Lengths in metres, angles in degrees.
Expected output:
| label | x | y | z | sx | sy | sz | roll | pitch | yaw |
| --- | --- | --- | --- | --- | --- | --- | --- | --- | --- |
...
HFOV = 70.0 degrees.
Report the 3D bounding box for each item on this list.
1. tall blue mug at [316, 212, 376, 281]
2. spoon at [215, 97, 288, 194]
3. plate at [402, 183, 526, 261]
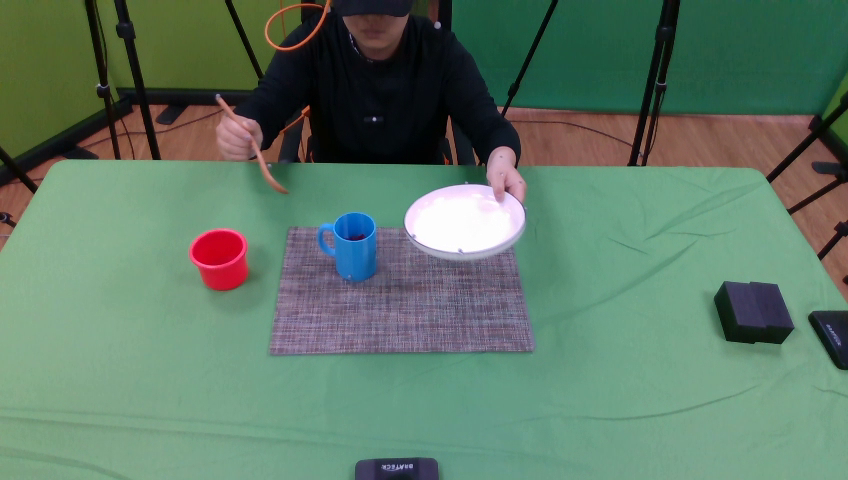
| label | x | y | z | sx | sy | sz | roll | pitch | yaw |
| --- | --- | --- | --- | --- | --- | --- | --- | --- | --- |
| tall blue mug | -0.142 | 0.014 | 1.108 | 0.107 | 0.108 | 0.077 | -5 | 48 | -8 |
| spoon | -0.285 | -0.156 | 1.003 | 0.021 | 0.041 | 0.194 | -31 | 93 | -5 |
| plate | 0.068 | -0.028 | 1.033 | 0.208 | 0.039 | 0.206 | -4 | 37 | 3 |
